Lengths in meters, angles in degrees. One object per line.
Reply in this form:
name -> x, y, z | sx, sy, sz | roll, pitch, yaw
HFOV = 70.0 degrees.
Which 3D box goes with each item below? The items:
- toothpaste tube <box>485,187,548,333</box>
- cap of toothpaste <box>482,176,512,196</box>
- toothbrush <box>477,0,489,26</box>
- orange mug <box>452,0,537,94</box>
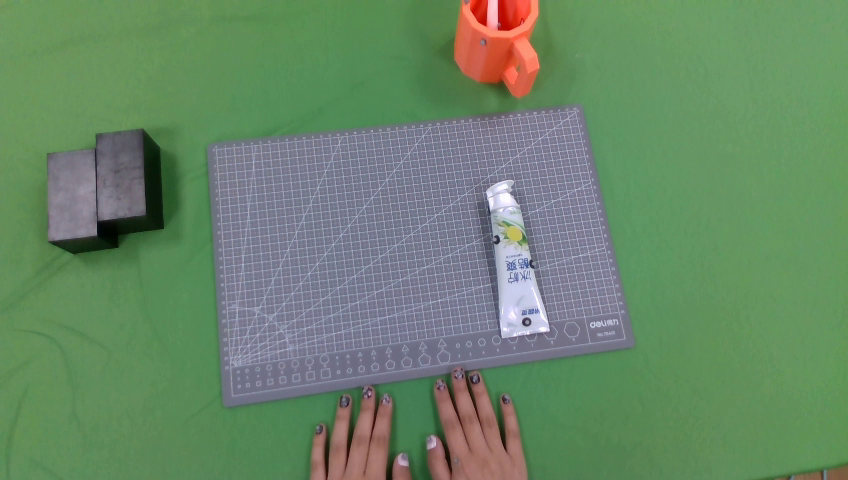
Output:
toothpaste tube -> 0.096, 0.019, 0.680 | 0.055, 0.034, 0.164 | -10, 80, 2
cap of toothpaste -> 0.085, -0.061, 0.693 | 0.037, 0.037, 0.011 | -20, 74, -8
toothbrush -> 0.070, -0.281, 0.677 | 0.014, 0.183, 0.016 | -16, 41, -24
orange mug -> 0.088, -0.237, 0.709 | 0.083, 0.101, 0.125 | -29, 74, -10
